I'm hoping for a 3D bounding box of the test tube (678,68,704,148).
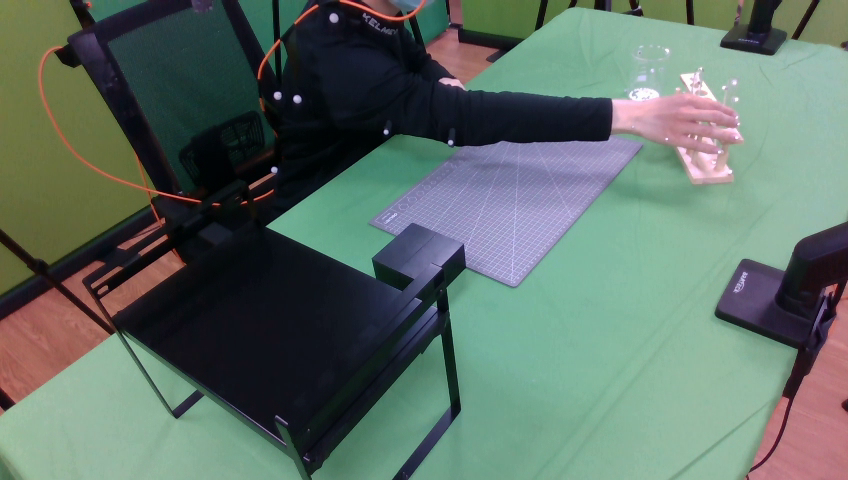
[{"bbox_3d":[0.465,-0.228,1.054,0.017,0.151,0.017,-4,41,4],"label":"test tube"}]

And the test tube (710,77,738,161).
[{"bbox_3d":[0.499,-0.198,1.008,0.017,0.151,0.017,-4,37,3],"label":"test tube"}]

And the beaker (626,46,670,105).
[{"bbox_3d":[0.457,-0.335,1.240,0.084,0.101,0.073,-12,41,-6],"label":"beaker"}]

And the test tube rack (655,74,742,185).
[{"bbox_3d":[0.488,-0.205,1.093,0.067,0.085,0.241,-3,41,5],"label":"test tube rack"}]
